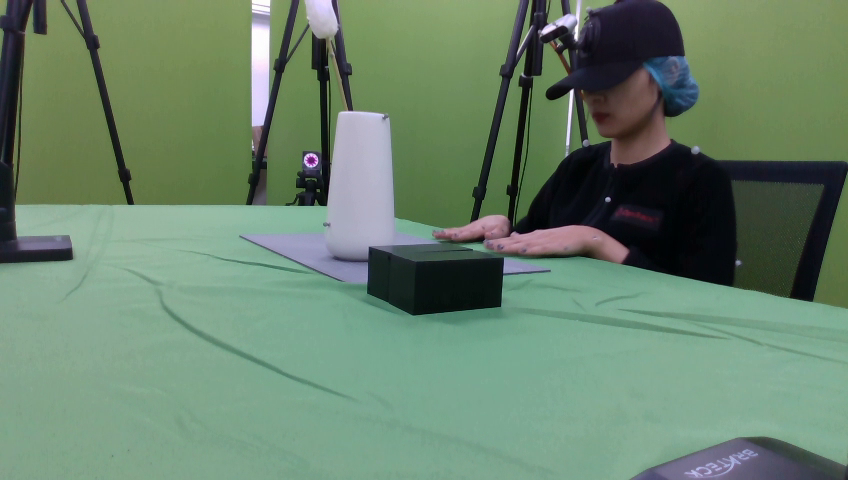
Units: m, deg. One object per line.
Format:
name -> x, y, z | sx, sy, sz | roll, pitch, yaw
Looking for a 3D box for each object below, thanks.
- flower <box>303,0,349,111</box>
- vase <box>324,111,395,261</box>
flower -> -0.099, -0.157, 0.825 | 0.038, 0.361, 0.044 | -15, 5, -1
vase -> -0.087, -0.074, 0.829 | 0.098, 0.200, 0.098 | 2, 9, 0
